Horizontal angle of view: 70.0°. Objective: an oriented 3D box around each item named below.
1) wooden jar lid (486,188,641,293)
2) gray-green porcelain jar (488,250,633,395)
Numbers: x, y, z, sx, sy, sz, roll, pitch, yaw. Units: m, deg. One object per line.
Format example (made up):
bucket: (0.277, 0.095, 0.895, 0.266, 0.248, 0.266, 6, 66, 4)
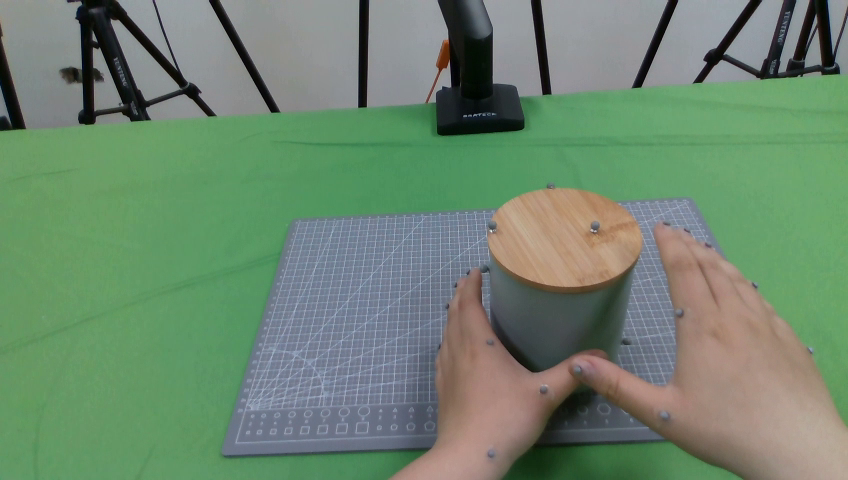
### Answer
wooden jar lid: (0.099, 0.002, 0.437, 0.108, 0.021, 0.107, -4, 41, 4)
gray-green porcelain jar: (0.104, 0.050, 0.477, 0.106, 0.128, 0.105, -3, 40, 3)
